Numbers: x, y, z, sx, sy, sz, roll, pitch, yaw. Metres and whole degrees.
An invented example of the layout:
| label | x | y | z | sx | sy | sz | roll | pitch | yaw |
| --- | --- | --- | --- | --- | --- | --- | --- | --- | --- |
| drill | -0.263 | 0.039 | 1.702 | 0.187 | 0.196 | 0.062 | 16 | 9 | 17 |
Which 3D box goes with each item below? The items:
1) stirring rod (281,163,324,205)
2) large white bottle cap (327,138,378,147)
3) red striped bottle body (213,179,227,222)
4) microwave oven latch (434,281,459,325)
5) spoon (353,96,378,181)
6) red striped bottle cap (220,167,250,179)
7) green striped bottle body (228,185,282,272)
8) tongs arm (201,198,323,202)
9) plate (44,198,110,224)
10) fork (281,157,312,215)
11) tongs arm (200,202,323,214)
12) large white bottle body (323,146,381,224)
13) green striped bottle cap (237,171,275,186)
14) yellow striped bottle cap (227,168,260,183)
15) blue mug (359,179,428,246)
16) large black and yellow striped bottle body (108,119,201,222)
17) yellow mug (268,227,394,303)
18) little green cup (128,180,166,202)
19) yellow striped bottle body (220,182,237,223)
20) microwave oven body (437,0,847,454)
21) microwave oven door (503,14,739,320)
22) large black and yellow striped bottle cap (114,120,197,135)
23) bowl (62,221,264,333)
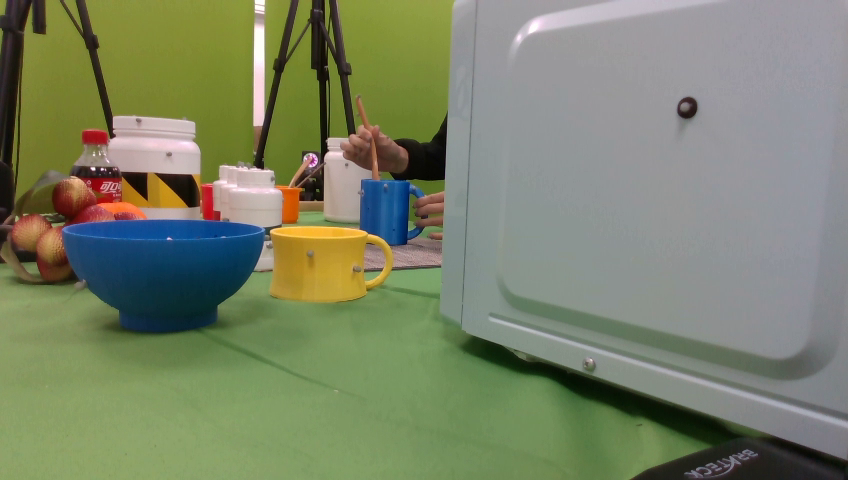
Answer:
| label | x | y | z | sx | sy | sz | roll | pitch | yaw |
| --- | --- | --- | --- | --- | --- | --- | --- | --- | --- |
| stirring rod | -0.278 | -0.105 | 1.293 | 0.176 | 0.006 | 0.014 | -47 | 24 | -18 |
| large white bottle cap | -0.160 | -0.218 | 1.357 | 0.115 | 0.018 | 0.115 | 2 | 8 | 0 |
| red striped bottle body | -0.284 | -0.048 | 0.909 | 0.063 | 0.119 | 0.063 | 3 | 10 | 0 |
| microwave oven latch | 0.044 | 0.045 | 0.470 | 0.079 | 0.029 | 0.030 | -2 | 8 | -39 |
| spoon | -0.091 | -0.151 | 1.022 | 0.022 | 0.193 | 0.041 | -11 | -5 | -11 |
| red striped bottle cap | -0.281 | -0.100 | 0.901 | 0.044 | 0.017 | 0.044 | -1 | 5 | 0 |
| green striped bottle body | -0.208 | -0.023 | 0.745 | 0.063 | 0.119 | 0.063 | 3 | 7 | 0 |
| tongs arm | -0.432 | -0.089 | 1.507 | 0.390 | 0.028 | 0.028 | -1 | 2 | -30 |
| plate | -0.617 | -0.056 | 1.179 | 0.209 | 0.038 | 0.209 | 3 | 7 | 0 |
| fork | -0.289 | -0.116 | 1.321 | 0.028 | 0.019 | 0.207 | 7 | 52 | 18 |
| tongs arm | -0.378 | -0.079 | 1.440 | 0.387 | 0.026 | 0.050 | -4 | 7 | -44 |
| large white bottle body | -0.163 | -0.134 | 1.369 | 0.131 | 0.184 | 0.130 | 2 | 8 | 0 |
| green striped bottle cap | -0.205 | -0.075 | 0.738 | 0.044 | 0.020 | 0.044 | 1 | 7 | 0 |
| yellow striped bottle cap | -0.243 | -0.087 | 0.818 | 0.044 | 0.018 | 0.044 | 4 | 6 | 0 |
| blue mug | -0.051 | -0.047 | 1.009 | 0.116 | 0.106 | 0.082 | 3 | 8 | 4 |
| large black and yellow striped bottle body | -0.412 | -0.088 | 0.930 | 0.131 | 0.184 | 0.130 | 3 | 7 | 0 |
| yellow mug | -0.094 | 0.023 | 0.629 | 0.131 | 0.064 | 0.099 | 0 | 7 | -22 |
| little green cup | -0.485 | -0.087 | 1.062 | 0.061 | 0.038 | 0.061 | -1 | 6 | 0 |
| yellow striped bottle body | -0.246 | -0.036 | 0.825 | 0.063 | 0.120 | 0.063 | 3 | 8 | 0 |
| microwave oven body | 0.279 | -0.040 | 0.464 | 0.444 | 0.260 | 0.324 | -3 | 9 | -41 |
| microwave oven door | 0.218 | -0.065 | 0.600 | 0.358 | 0.243 | 0.039 | -4 | 10 | -41 |
| large black and yellow striped bottle cap | -0.407 | -0.171 | 0.920 | 0.115 | 0.019 | 0.115 | 2 | 9 | 0 |
| bowl | -0.209 | 0.029 | 0.496 | 0.151 | 0.077 | 0.151 | 2 | 7 | 0 |
